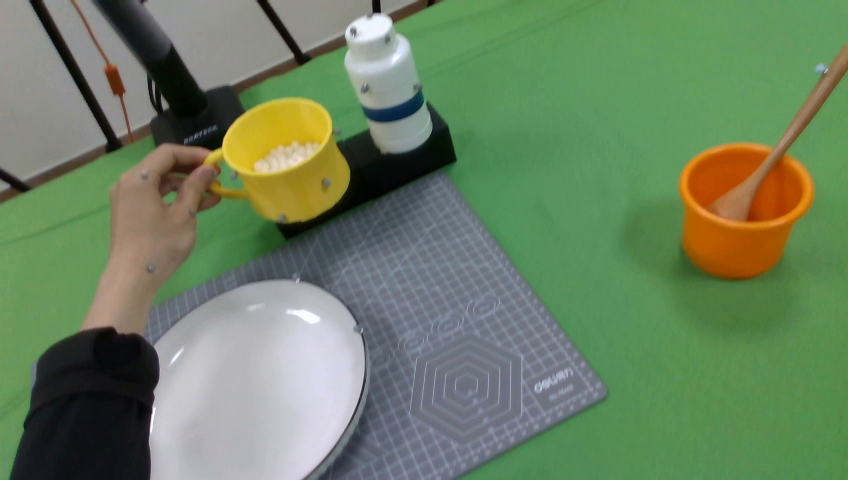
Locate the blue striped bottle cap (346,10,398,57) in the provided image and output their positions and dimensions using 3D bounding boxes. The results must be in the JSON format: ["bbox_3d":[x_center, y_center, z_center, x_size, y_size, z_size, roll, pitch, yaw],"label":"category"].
[{"bbox_3d":[-0.046,-0.182,0.533,0.044,0.021,0.044,-10,50,12],"label":"blue striped bottle cap"}]

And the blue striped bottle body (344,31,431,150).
[{"bbox_3d":[-0.036,-0.149,0.571,0.063,0.122,0.062,-8,49,10],"label":"blue striped bottle body"}]

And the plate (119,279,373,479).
[{"bbox_3d":[-0.138,0.125,0.491,0.207,0.039,0.205,-8,49,10],"label":"plate"}]

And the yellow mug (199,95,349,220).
[{"bbox_3d":[-0.141,-0.072,0.558,0.131,0.064,0.099,-16,52,-1],"label":"yellow mug"}]

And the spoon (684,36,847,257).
[{"bbox_3d":[0.262,-0.069,0.459,0.194,0.022,0.041,-59,45,19],"label":"spoon"}]
